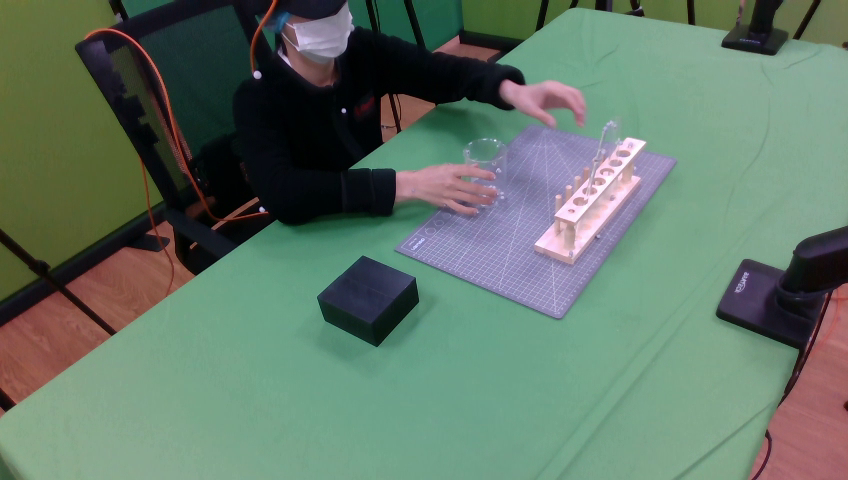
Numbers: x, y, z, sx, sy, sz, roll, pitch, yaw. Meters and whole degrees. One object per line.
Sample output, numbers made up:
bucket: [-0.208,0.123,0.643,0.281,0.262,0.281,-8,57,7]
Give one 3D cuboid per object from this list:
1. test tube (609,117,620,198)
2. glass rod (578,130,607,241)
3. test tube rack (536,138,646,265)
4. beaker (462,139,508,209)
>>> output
test tube: [0.298,-0.125,0.946,0.017,0.151,0.017,-8,42,8]
glass rod: [0.240,-0.072,0.866,0.008,0.200,0.008,0,44,1]
test tube rack: [0.268,-0.071,0.964,0.066,0.085,0.243,23,49,32]
beaker: [0.108,-0.111,1.027,0.073,0.100,0.084,26,49,33]
